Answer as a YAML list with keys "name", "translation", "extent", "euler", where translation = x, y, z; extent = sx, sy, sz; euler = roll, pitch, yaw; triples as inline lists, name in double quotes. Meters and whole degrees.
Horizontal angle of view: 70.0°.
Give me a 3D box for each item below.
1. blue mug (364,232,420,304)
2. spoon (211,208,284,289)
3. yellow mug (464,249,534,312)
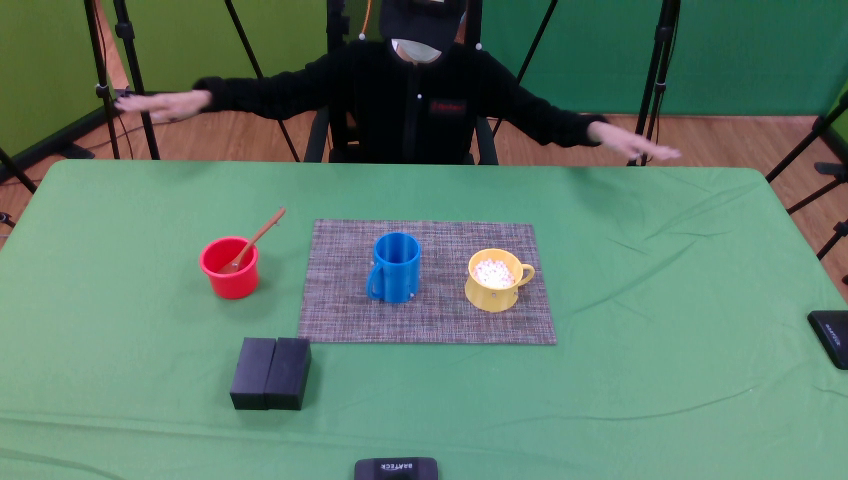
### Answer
- name: "blue mug"
  translation: [-0.062, 0.059, 1.074]
  extent: [0.082, 0.106, 0.116]
  euler: [35, 53, 27]
- name: "spoon"
  translation: [-0.313, 0.015, 1.076]
  extent: [0.194, 0.022, 0.041]
  euler: [-48, 54, 12]
- name: "yellow mug"
  translation: [0.141, 0.070, 1.106]
  extent: [0.131, 0.064, 0.099]
  euler: [-9, 47, -14]
